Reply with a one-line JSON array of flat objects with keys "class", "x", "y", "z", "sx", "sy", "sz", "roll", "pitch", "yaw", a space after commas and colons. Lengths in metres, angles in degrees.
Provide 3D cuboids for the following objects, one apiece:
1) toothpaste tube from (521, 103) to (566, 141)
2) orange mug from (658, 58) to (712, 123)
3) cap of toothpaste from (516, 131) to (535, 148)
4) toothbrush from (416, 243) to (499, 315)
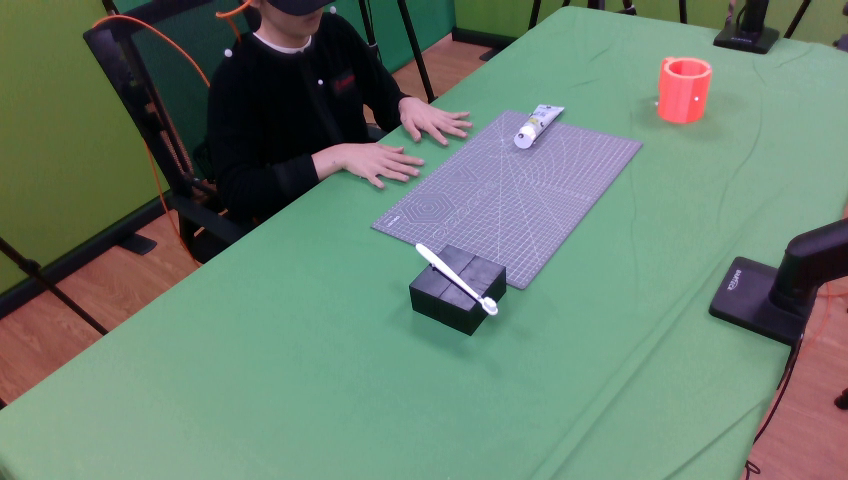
[{"class": "toothpaste tube", "x": 0.234, "y": -0.238, "z": 1.209, "sx": 0.055, "sy": 0.034, "sz": 0.165, "roll": 19, "pitch": 43, "yaw": 21}, {"class": "orange mug", "x": 0.504, "y": -0.304, "z": 1.193, "sx": 0.083, "sy": 0.101, "sz": 0.125, "roll": -13, "pitch": 45, "yaw": -5}, {"class": "cap of toothpaste", "x": 0.194, "y": -0.193, "z": 1.153, "sx": 0.037, "sy": 0.037, "sz": 0.011, "roll": 7, "pitch": 44, "yaw": 17}, {"class": "toothbrush", "x": 0.043, "y": 0.049, "z": 0.842, "sx": 0.014, "sy": 0.017, "sz": 0.180, "roll": -31, "pitch": 45, "yaw": -21}]
